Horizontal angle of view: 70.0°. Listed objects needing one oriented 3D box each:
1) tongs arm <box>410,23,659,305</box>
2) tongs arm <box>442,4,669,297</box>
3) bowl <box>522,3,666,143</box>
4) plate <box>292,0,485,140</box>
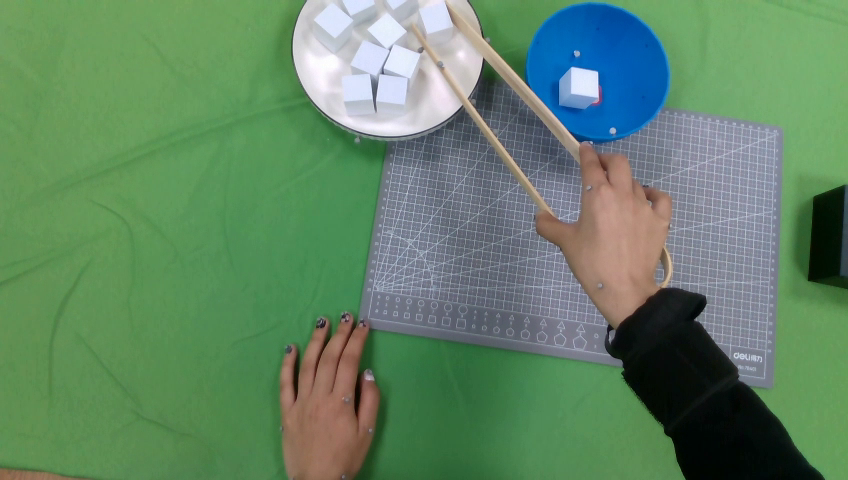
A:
[{"bbox_3d":[0.093,-0.093,0.593,0.051,0.027,0.381,-28,66,-2],"label":"tongs arm"},{"bbox_3d":[0.116,-0.107,0.594,0.028,0.028,0.384,-30,66,-7],"label":"tongs arm"},{"bbox_3d":[0.173,-0.167,0.656,0.151,0.077,0.150,1,79,-4],"label":"bowl"},{"bbox_3d":[-0.038,-0.205,0.669,0.208,0.039,0.206,1,79,-3],"label":"plate"}]
